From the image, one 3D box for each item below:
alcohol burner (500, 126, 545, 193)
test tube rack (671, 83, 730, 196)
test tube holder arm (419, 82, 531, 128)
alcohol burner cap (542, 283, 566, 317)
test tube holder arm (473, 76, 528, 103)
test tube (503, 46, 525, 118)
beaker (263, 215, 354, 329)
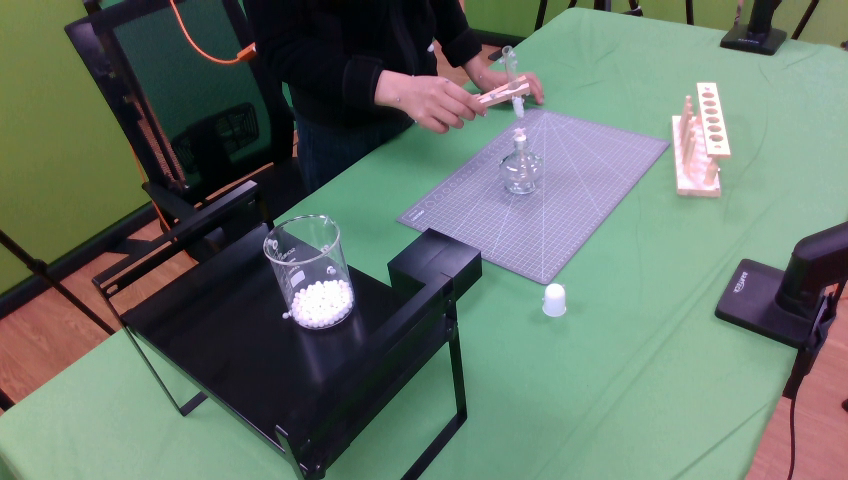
[{"bbox_3d":[0.168,-0.141,1.039,0.078,0.119,0.077,-6,41,5],"label":"alcohol burner"},{"bbox_3d":[0.482,-0.184,1.067,0.066,0.085,0.242,6,42,15],"label":"test tube rack"},{"bbox_3d":[0.077,-0.209,0.936,0.178,0.015,0.013,-18,56,11],"label":"test tube holder arm"},{"bbox_3d":[0.181,0.081,0.840,0.034,0.048,0.033,-4,40,4],"label":"alcohol burner cap"},{"bbox_3d":[0.118,-0.228,0.931,0.088,0.015,0.010,-23,56,7],"label":"test tube holder arm"},{"bbox_3d":[0.138,-0.236,0.919,0.017,0.151,0.017,-7,62,14],"label":"test tube"},{"bbox_3d":[-0.112,0.034,0.616,0.073,0.101,0.084,13,44,22],"label":"beaker"}]
